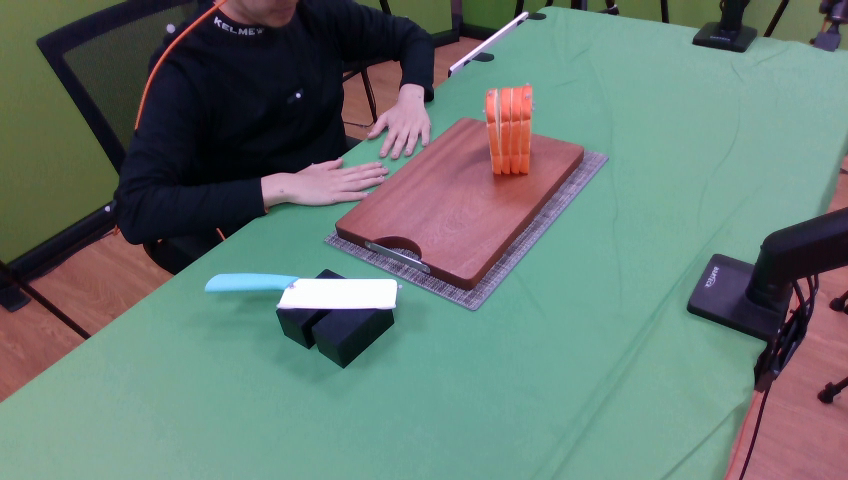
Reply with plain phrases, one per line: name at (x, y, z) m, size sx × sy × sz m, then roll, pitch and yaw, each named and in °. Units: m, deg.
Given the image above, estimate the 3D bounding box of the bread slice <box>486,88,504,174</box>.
bread slice at (0.124, -0.197, 1.054) m, size 0.019 × 0.132 × 0.104 m, roll -4°, pitch 39°, yaw 12°

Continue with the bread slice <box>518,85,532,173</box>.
bread slice at (0.175, -0.196, 1.044) m, size 0.018 × 0.135 × 0.106 m, roll 2°, pitch 44°, yaw 7°

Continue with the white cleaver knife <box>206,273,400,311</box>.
white cleaver knife at (-0.173, 0.071, 0.846) m, size 0.286 × 0.021 × 0.065 m, roll 0°, pitch 40°, yaw 11°
